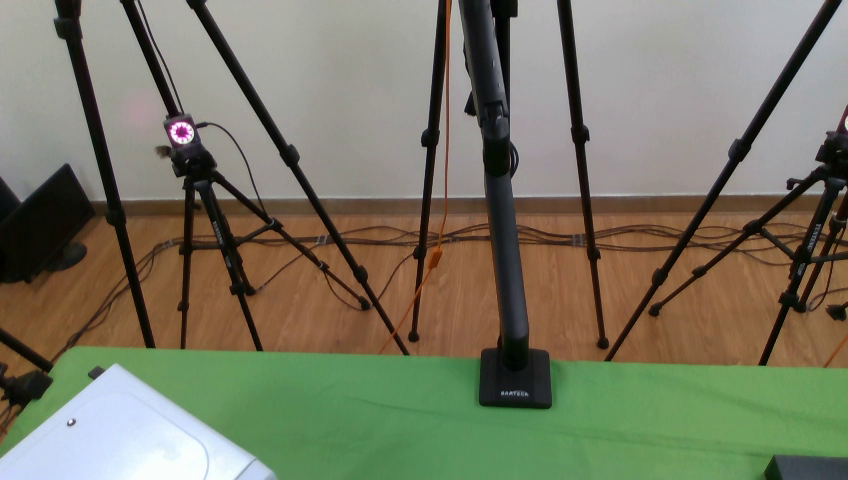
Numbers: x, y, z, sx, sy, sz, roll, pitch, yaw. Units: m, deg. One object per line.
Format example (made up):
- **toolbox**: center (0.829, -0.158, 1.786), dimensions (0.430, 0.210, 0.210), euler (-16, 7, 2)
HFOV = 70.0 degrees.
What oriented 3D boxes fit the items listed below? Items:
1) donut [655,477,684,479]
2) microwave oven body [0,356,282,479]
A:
- **donut**: center (0.344, 0.372, 0.828), dimensions (0.099, 0.049, 0.098), euler (-6, 38, 5)
- **microwave oven body**: center (-0.410, 0.416, 0.711), dimensions (0.323, 0.263, 0.440), euler (22, 50, 27)
